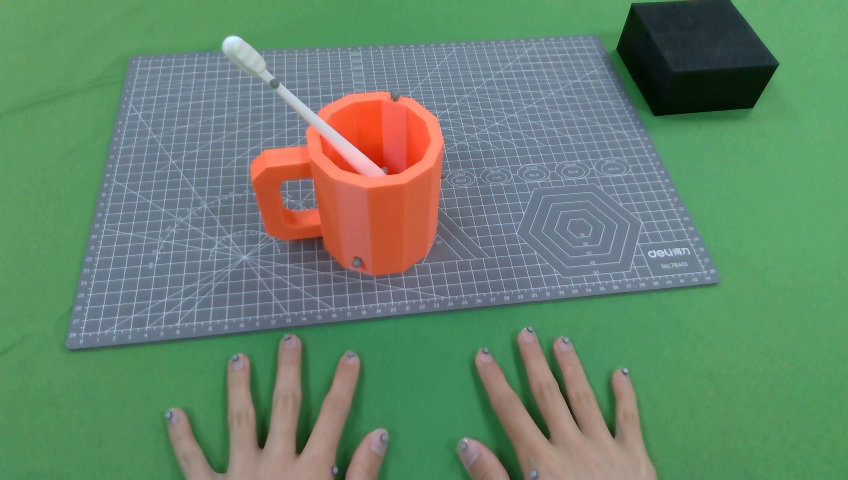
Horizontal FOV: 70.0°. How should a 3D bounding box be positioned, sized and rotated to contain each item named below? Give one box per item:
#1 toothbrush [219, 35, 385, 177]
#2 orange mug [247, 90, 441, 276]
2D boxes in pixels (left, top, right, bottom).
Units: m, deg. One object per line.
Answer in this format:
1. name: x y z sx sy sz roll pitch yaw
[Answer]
1. toothbrush: -0.054 -0.061 0.382 0.016 0.184 0.014 18 72 46
2. orange mug: -0.052 -0.036 0.411 0.126 0.101 0.082 -6 54 -13
